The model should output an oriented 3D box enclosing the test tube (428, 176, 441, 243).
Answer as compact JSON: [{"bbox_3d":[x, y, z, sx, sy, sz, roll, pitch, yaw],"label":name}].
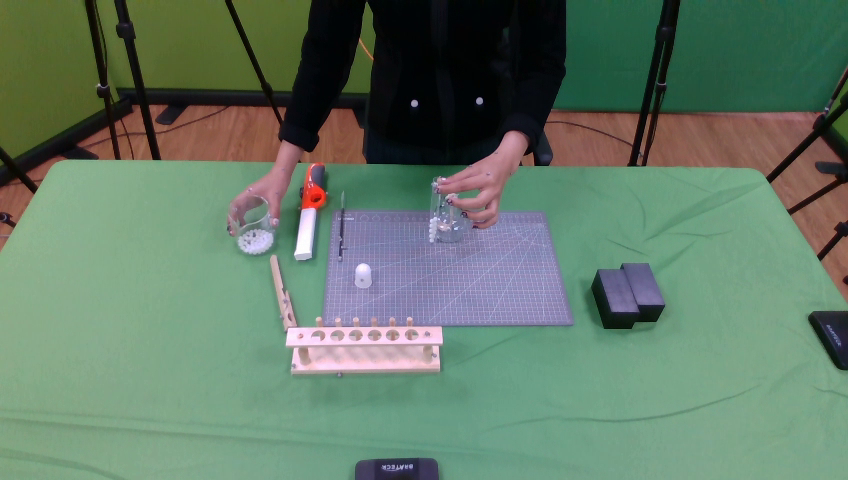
[{"bbox_3d":[0.017,-0.048,1.026,0.017,0.151,0.017,2,48,-2],"label":"test tube"}]

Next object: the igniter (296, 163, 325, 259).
[{"bbox_3d":[-0.233,-0.068,1.242,0.057,0.025,0.274,-7,45,3],"label":"igniter"}]

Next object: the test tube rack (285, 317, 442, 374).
[{"bbox_3d":[-0.095,0.166,0.988,0.242,0.085,0.066,0,46,-4],"label":"test tube rack"}]

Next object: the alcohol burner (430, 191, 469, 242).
[{"bbox_3d":[0.051,-0.053,1.185,0.078,0.119,0.077,2,48,-2],"label":"alcohol burner"}]

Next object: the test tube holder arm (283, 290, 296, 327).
[{"bbox_3d":[-0.241,0.123,1.067,0.010,0.015,0.087,16,34,-38],"label":"test tube holder arm"}]

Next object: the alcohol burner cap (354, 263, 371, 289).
[{"bbox_3d":[-0.113,0.063,1.111,0.034,0.048,0.033,2,45,-2],"label":"alcohol burner cap"}]

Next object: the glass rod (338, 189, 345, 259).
[{"bbox_3d":[-0.166,-0.036,1.227,0.008,0.008,0.198,0,46,-4],"label":"glass rod"}]

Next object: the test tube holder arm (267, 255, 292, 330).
[{"bbox_3d":[-0.261,0.091,1.092,0.013,0.015,0.177,14,35,-39],"label":"test tube holder arm"}]

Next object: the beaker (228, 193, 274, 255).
[{"bbox_3d":[-0.322,-0.025,1.137,0.074,0.101,0.083,11,50,4],"label":"beaker"}]
